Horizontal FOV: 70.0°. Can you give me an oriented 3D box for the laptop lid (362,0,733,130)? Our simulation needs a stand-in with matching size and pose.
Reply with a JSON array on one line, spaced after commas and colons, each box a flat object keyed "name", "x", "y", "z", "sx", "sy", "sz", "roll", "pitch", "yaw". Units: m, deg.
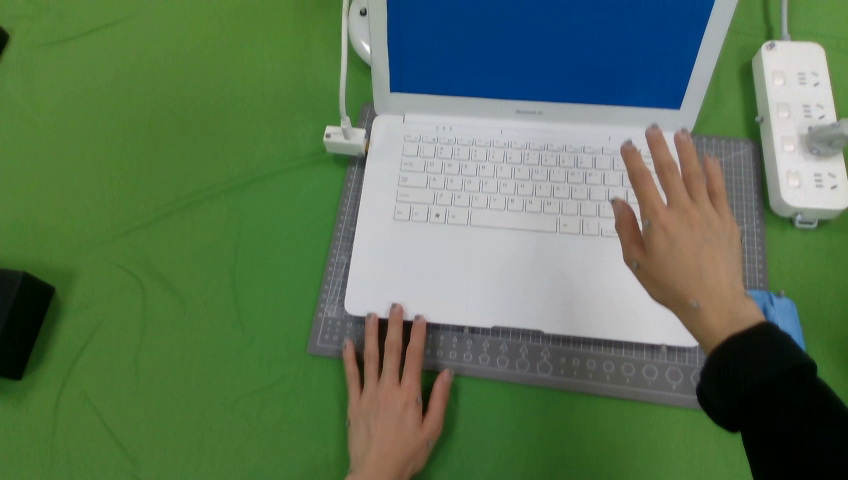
[{"name": "laptop lid", "x": 0.114, "y": -0.215, "z": 0.598, "sx": 0.356, "sy": 0.244, "sz": 0.013, "roll": 3, "pitch": 45, "yaw": 5}]

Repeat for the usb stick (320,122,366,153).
[{"name": "usb stick", "x": -0.083, "y": -0.112, "z": 0.670, "sx": 0.059, "sy": 0.027, "sz": 0.021, "roll": 9, "pitch": 64, "yaw": 3}]

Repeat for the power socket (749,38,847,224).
[{"name": "power socket", "x": 0.404, "y": -0.127, "z": 0.661, "sx": 0.072, "sy": 0.033, "sz": 0.225, "roll": 5, "pitch": 68, "yaw": 3}]

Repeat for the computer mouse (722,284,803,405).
[{"name": "computer mouse", "x": 0.318, "y": 0.095, "z": 0.572, "sx": 0.062, "sy": 0.041, "sz": 0.116, "roll": 9, "pitch": 65, "yaw": 8}]

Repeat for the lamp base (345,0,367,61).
[{"name": "lamp base", "x": -0.028, "y": -0.309, "z": 0.672, "sx": 0.160, "sy": 0.181, "sz": 0.177, "roll": -30, "pitch": 67, "yaw": -9}]

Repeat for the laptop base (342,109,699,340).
[{"name": "laptop base", "x": 0.102, "y": -0.023, "z": 0.640, "sx": 0.354, "sy": 0.023, "sz": 0.234, "roll": 4, "pitch": 72, "yaw": 4}]

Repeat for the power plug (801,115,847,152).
[{"name": "power plug", "x": 0.430, "y": -0.103, "z": 0.626, "sx": 0.072, "sy": 0.053, "sz": 0.035, "roll": 15, "pitch": 68, "yaw": 6}]
